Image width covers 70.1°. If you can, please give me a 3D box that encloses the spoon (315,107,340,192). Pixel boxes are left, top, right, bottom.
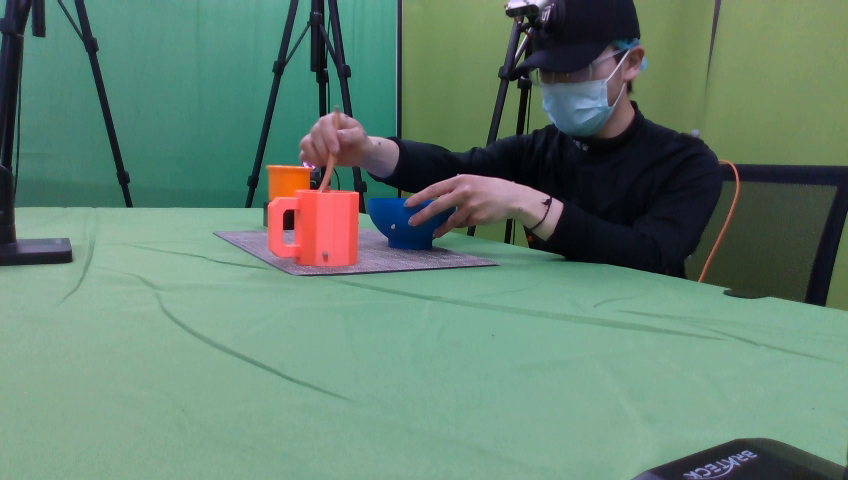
[{"bbox_3d":[-0.135,-0.091,0.823,0.021,0.193,0.041,12,-12,8],"label":"spoon"}]

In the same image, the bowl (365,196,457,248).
[{"bbox_3d":[-0.022,-0.030,1.000,0.151,0.077,0.151,2,7,0],"label":"bowl"}]

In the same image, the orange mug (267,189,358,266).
[{"bbox_3d":[-0.145,-0.019,0.796,0.127,0.100,0.083,3,6,-38],"label":"orange mug"}]
